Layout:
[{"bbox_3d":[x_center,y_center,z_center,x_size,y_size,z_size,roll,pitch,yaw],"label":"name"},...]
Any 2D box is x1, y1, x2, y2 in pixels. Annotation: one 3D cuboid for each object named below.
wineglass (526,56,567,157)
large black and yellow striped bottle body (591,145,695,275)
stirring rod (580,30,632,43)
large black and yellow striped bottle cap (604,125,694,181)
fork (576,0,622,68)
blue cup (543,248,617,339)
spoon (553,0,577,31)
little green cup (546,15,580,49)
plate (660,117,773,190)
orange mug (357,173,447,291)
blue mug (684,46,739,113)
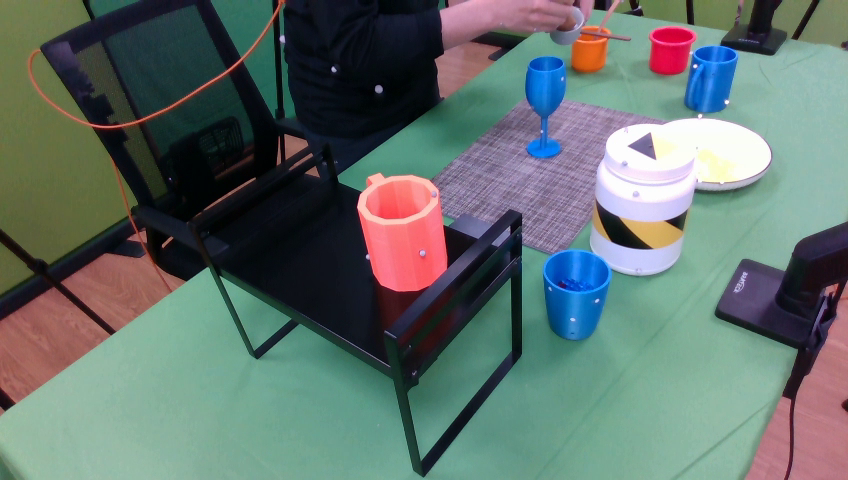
[{"bbox_3d":[0.222,-0.241,1.102,0.074,0.173,0.073,-5,41,5],"label":"wineglass"},{"bbox_3d":[0.313,-0.056,0.870,0.131,0.185,0.130,-4,40,4],"label":"large black and yellow striped bottle body"},{"bbox_3d":[0.381,-0.462,1.356,0.175,0.006,0.014,23,48,29],"label":"stirring rod"},{"bbox_3d":[0.304,-0.120,0.817,0.115,0.019,0.114,-3,41,3],"label":"large black and yellow striped bottle cap"},{"bbox_3d":[0.409,-0.484,1.381,0.028,0.019,0.207,37,101,45],"label":"fork"},{"bbox_3d":[0.199,0.076,0.797,0.092,0.100,0.092,-4,39,4],"label":"blue cup"},{"bbox_3d":[0.235,-0.387,1.001,0.041,0.194,0.021,-3,82,12],"label":"spoon"},{"bbox_3d":[0.253,-0.375,1.093,0.061,0.039,0.061,-13,41,12],"label":"little green cup"},{"bbox_3d":[0.495,-0.149,1.063,0.209,0.038,0.208,-5,40,4],"label":"plate"},{"bbox_3d":[-0.029,-0.018,0.669,0.084,0.101,0.125,-23,46,-16],"label":"orange mug"},{"bbox_3d":[0.556,-0.310,1.190,0.117,0.106,0.081,-32,46,-25],"label":"blue mug"}]
